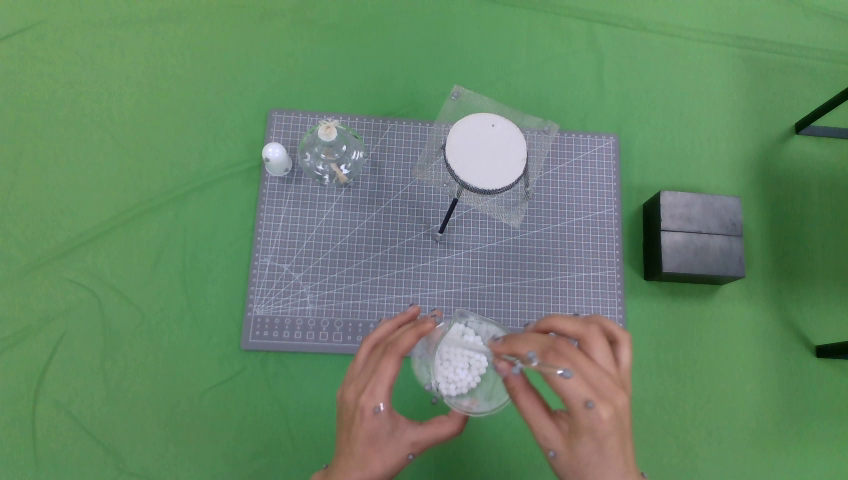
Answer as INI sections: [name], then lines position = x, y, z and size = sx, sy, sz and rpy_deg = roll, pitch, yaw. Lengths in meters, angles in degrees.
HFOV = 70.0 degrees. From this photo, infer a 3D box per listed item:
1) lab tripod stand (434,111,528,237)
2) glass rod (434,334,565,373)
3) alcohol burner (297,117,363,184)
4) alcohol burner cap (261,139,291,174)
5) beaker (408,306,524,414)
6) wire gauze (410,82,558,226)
[lab tripod stand]
position = 0.062, -0.078, 0.691
size = 0.148, 0.132, 0.147
rpy_deg = 2, 74, -5
[glass rod]
position = 0.046, 0.080, 0.447
size = 0.008, 0.199, 0.008
rpy_deg = 1, 87, -21
[alcohol burner]
position = -0.108, -0.110, 0.694
size = 0.078, 0.119, 0.077
rpy_deg = 2, 75, -6
[alcohol burner cap]
position = -0.178, -0.102, 0.723
size = 0.034, 0.048, 0.033
rpy_deg = 1, 75, -3
[beaker]
position = 0.028, 0.096, 0.505
size = 0.074, 0.100, 0.084
rpy_deg = -18, 87, -15
[wire gauze]
position = 0.063, -0.093, 0.626
size = 0.125, 0.011, 0.121
rpy_deg = 25, 75, 1
